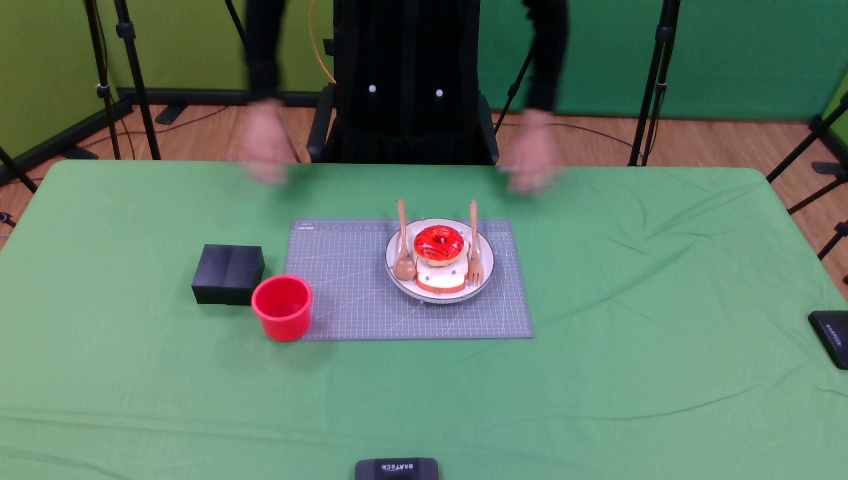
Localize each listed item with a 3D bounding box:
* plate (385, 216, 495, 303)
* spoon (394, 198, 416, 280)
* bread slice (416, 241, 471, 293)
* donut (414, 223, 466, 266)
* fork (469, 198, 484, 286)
[{"bbox_3d":[0.030,0.040,1.145,0.209,0.038,0.208,2,46,-2],"label":"plate"},{"bbox_3d":[-0.039,-0.006,1.166,0.042,0.022,0.192,2,59,-8],"label":"spoon"},{"bbox_3d":[0.037,0.046,1.144,0.105,0.019,0.131,4,45,2],"label":"bread slice"},{"bbox_3d":[0.030,0.007,1.140,0.099,0.048,0.098,0,42,0],"label":"donut"},{"bbox_3d":[0.099,0.000,1.172,0.028,0.019,0.206,-6,57,11],"label":"fork"}]
